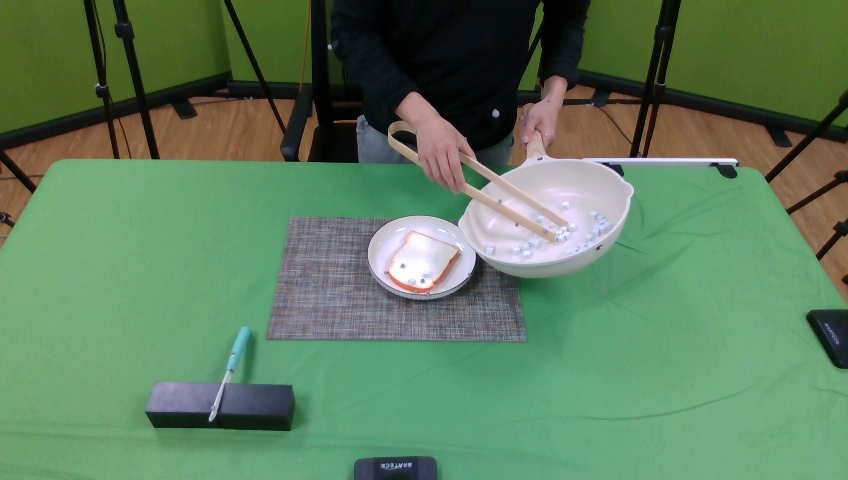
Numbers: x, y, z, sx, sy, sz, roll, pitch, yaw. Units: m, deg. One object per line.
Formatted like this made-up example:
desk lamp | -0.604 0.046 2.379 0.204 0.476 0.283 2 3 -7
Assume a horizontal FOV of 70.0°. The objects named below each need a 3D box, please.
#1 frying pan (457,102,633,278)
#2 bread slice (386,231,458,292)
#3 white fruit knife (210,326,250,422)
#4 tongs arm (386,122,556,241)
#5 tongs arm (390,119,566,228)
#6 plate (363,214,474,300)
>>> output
frying pan | 0.219 -0.115 1.143 0.306 0.103 0.485 -10 47 14
bread slice | -0.007 0.043 1.142 0.107 0.018 0.134 18 46 14
white fruit knife | -0.301 0.201 0.942 0.016 0.027 0.206 2 32 -2
tongs arm | 0.080 -0.113 1.119 0.384 0.026 0.050 30 61 15
tongs arm | 0.096 -0.129 1.131 0.386 0.028 0.028 34 65 17
plate | -0.010 0.036 1.146 0.208 0.039 0.206 3 46 -2
